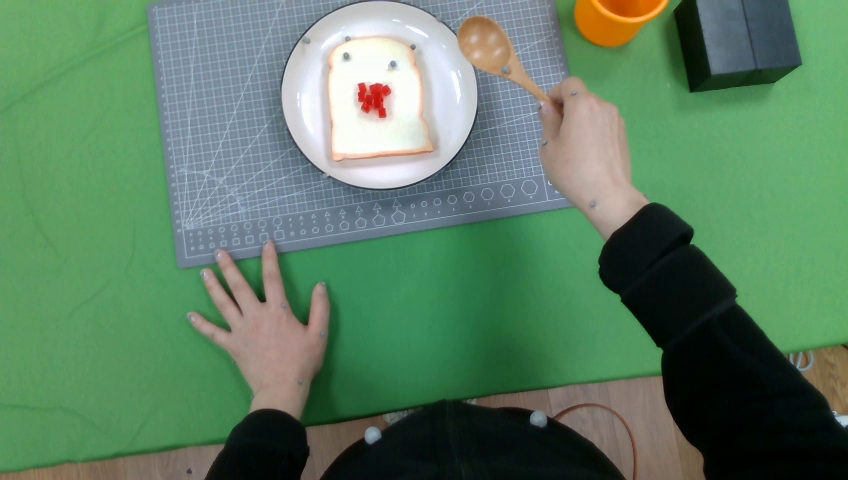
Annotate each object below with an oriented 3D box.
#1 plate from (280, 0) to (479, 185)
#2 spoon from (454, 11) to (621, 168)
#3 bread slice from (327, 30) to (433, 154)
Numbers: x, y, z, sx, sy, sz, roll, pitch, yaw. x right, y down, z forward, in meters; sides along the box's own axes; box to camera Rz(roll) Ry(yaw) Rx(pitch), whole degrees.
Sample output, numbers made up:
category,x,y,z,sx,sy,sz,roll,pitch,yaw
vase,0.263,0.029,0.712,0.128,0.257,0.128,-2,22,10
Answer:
category,x,y,z,sx,sy,sz,roll,pitch,yaw
plate,-0.045,-0.158,0.648,0.209,0.038,0.208,0,83,-2
spoon,0.101,-0.131,0.538,0.041,0.022,0.193,-45,83,1
bread slice,-0.054,-0.158,0.648,0.107,0.018,0.134,-9,83,-4
